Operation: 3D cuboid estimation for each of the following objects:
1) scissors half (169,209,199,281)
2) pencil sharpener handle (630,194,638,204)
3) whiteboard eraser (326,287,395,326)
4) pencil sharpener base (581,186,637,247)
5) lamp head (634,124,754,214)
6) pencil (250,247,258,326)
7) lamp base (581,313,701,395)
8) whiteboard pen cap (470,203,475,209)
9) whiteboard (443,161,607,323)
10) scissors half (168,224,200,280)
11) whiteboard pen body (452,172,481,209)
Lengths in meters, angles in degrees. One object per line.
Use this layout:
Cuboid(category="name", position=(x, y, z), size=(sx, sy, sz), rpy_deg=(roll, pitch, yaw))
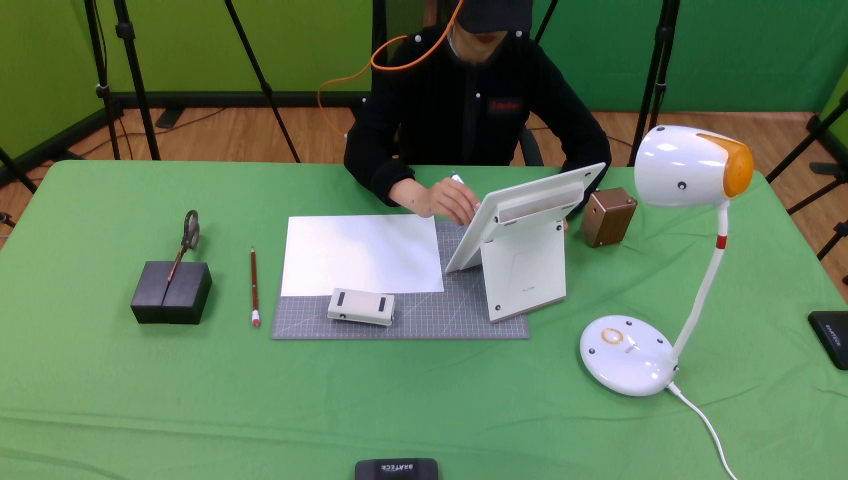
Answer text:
Cuboid(category="scissors half", position=(-0.438, 0.007, 1.098), size=(0.013, 0.040, 0.174), rpy_deg=(3, 48, -3))
Cuboid(category="pencil sharpener handle", position=(0.417, -0.068, 1.215), size=(0.031, 0.068, 0.036), rpy_deg=(-11, 60, -14))
Cuboid(category="whiteboard eraser", position=(-0.110, 0.118, 1.057), size=(0.113, 0.042, 0.055), rpy_deg=(7, 45, 2))
Cuboid(category="pencil sharpener base", position=(0.369, -0.047, 1.209), size=(0.077, 0.107, 0.061), rpy_deg=(-11, 47, -14))
Cuboid(category="lamp head", position=(0.351, -0.089, 0.776), size=(0.112, 0.113, 0.122), rpy_deg=(-30, 30, -28))
Cuboid(category="pencil", position=(-0.312, 0.079, 1.107), size=(0.012, 0.012, 0.192), rpy_deg=(-7, 46, -11))
Cuboid(category="lamp base", position=(0.361, 0.144, 0.973), size=(0.178, 0.181, 0.160), rpy_deg=(34, 53, 23))
Cuboid(category="whiteboard pen cap", position=(0.113, -0.073, 1.279), size=(0.033, 0.018, 0.018), rpy_deg=(4, 46, 6))
Cuboid(category="whiteboard", position=(0.185, 0.025, 1.029), size=(0.217, 0.306, 0.143), rpy_deg=(-15, 68, -18))
Cuboid(category="scissors half", position=(-0.440, 0.023, 1.111), size=(0.013, 0.040, 0.174), rpy_deg=(7, 29, -6))
Cuboid(category="whiteboard pen body", position=(0.092, -0.067, 1.086), size=(0.017, 0.017, 0.140), rpy_deg=(-24, 67, -24))
